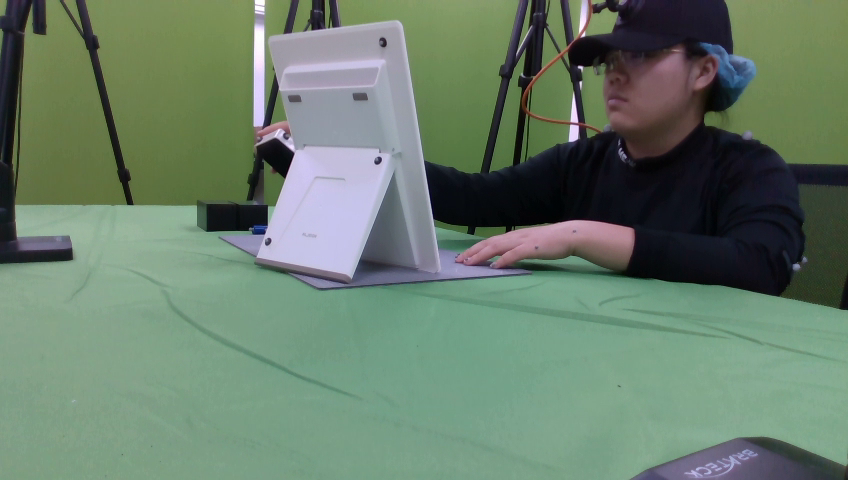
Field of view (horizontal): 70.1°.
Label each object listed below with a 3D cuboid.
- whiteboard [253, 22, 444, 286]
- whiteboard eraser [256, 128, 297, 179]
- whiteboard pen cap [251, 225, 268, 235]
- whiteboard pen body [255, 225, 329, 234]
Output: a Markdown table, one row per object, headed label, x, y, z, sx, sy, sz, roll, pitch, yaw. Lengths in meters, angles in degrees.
| label | x | y | z | sx | sy | sz | roll | pitch | yaw |
| --- | --- | --- | --- | --- | --- | --- | --- | --- | --- |
| whiteboard | -0.125 | -0.081 | 0.715 | 0.216 | 0.305 | 0.144 | 9 | 29 | 36 |
| whiteboard eraser | -0.189 | -0.112 | 0.891 | 0.055 | 0.042 | 0.113 | -10 | -41 | 41 |
| whiteboard pen cap | -0.288 | -0.019 | 1.071 | 0.033 | 0.018 | 0.018 | -3 | 9 | -35 |
| whiteboard pen body | -0.239 | -0.019 | 1.105 | 0.141 | 0.017 | 0.017 | -2 | 9 | -34 |
